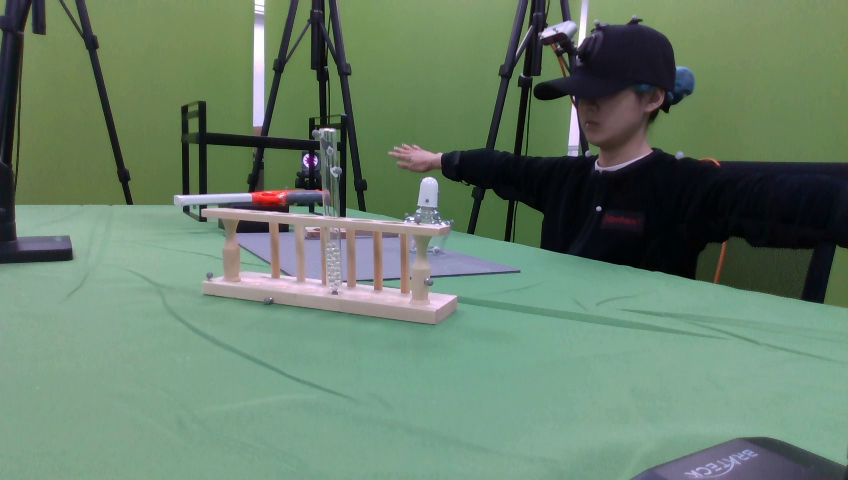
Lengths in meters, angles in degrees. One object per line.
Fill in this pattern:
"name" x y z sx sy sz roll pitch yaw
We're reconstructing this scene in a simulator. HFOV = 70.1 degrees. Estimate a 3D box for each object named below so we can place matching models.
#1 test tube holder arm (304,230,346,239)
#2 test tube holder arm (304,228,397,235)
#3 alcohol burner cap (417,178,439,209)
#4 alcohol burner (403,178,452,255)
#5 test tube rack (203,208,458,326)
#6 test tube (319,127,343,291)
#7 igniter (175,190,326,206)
"test tube holder arm" -0.162 -0.010 1.040 0.088 0.015 0.010 0 45 -32
"test tube holder arm" -0.126 -0.014 1.068 0.179 0.015 0.013 -2 45 -33
"alcohol burner cap" 0.008 -0.071 0.917 0.034 0.048 0.034 5 6 0
"alcohol burner" 0.005 -0.036 0.923 0.078 0.119 0.078 5 7 0
"test tube rack" -0.090 0.019 0.579 0.241 0.085 0.067 5 7 19
"test tube" -0.084 -0.027 0.552 0.017 0.150 0.017 -1 8 0
"igniter" -0.315 -0.079 1.128 0.278 0.025 0.057 -5 13 -34
